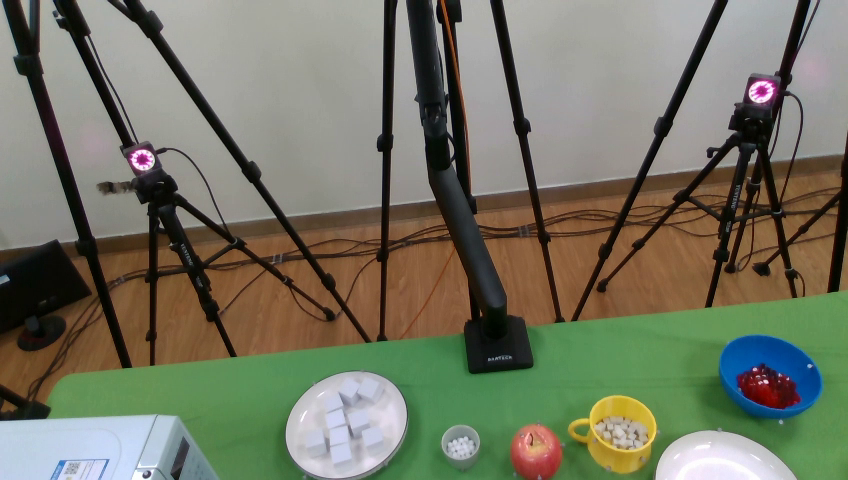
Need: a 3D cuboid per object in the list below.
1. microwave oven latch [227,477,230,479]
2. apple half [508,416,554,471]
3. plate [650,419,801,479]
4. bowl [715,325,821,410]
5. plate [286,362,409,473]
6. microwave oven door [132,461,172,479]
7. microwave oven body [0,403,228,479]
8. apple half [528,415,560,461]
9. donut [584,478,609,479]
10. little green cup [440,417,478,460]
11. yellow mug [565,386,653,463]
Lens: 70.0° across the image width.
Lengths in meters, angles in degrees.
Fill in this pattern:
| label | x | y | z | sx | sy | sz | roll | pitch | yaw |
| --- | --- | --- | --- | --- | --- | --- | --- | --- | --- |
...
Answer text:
| label | x | y | z | sx | sy | sz | roll | pitch | yaw |
| --- | --- | --- | --- | --- | --- | --- | --- | --- | --- |
| microwave oven latch | -0.314 | 0.403 | 0.920 | 0.030 | 0.030 | 0.078 | -2 | 43 | 6 |
| apple half | 0.158 | 0.323 | 0.939 | 0.053 | 0.075 | 0.080 | -27 | 49 | -14 |
| plate | 0.436 | 0.361 | 0.879 | 0.209 | 0.038 | 0.207 | -5 | 41 | 4 |
| bowl | 0.549 | 0.221 | 0.988 | 0.151 | 0.077 | 0.150 | -5 | 42 | 5 |
| plate | -0.127 | 0.303 | 1.032 | 0.207 | 0.039 | 0.205 | -4 | 41 | 4 |
| microwave oven door | -0.331 | 0.473 | 0.690 | 0.039 | 0.246 | 0.352 | -4 | 42 | 5 |
| microwave oven body | -0.475 | 0.459 | 0.736 | 0.326 | 0.263 | 0.437 | -4 | 42 | 4 |
| apple half | 0.193 | 0.307 | 0.950 | 0.033 | 0.082 | 0.080 | -28 | 45 | -14 |
| donut | 0.253 | 0.389 | 0.866 | 0.099 | 0.049 | 0.098 | -6 | 42 | 6 |
| little green cup | 0.058 | 0.323 | 0.981 | 0.061 | 0.039 | 0.061 | -4 | 42 | 4 |
| yellow mug | 0.290 | 0.291 | 0.959 | 0.130 | 0.064 | 0.099 | 1 | 42 | 11 |
